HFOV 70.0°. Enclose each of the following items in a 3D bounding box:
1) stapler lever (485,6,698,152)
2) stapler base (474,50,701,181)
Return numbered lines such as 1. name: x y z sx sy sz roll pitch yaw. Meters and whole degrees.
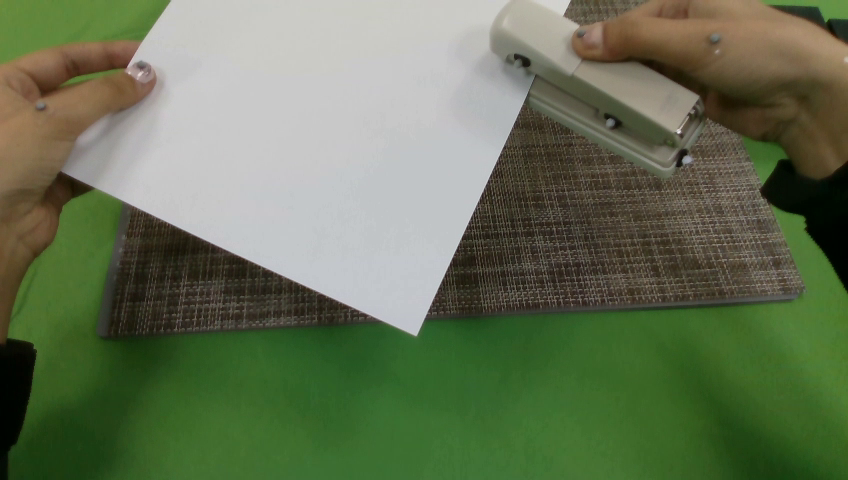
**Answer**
1. stapler lever: 0.084 -0.087 0.319 0.117 0.040 0.027 32 86 24
2. stapler base: 0.087 -0.082 0.336 0.130 0.024 0.041 33 87 16
